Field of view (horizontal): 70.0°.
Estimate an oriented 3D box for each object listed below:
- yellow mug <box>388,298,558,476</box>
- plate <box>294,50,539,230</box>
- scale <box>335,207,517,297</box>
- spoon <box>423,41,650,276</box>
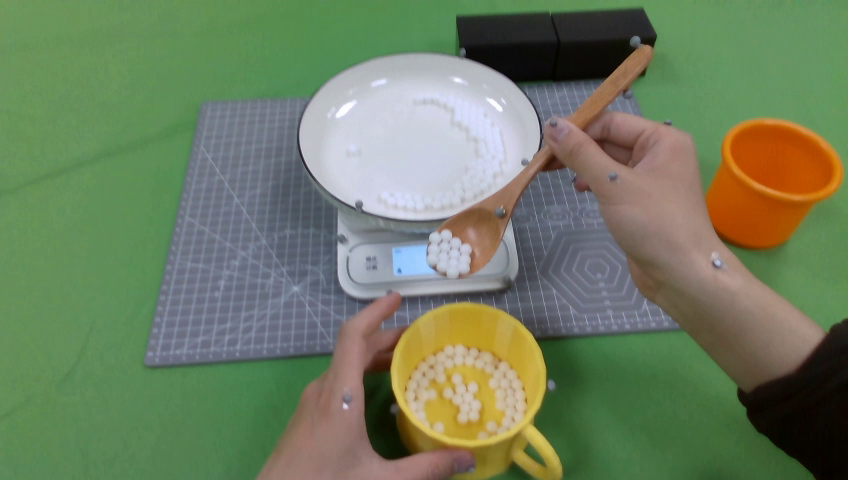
[{"bbox_3d":[0.038,0.107,0.406,0.100,0.064,0.130,-39,63,-24],"label":"yellow mug"},{"bbox_3d":[-0.006,-0.087,0.526,0.209,0.038,0.207,0,53,0],"label":"plate"},{"bbox_3d":[-0.004,-0.044,0.535,0.149,0.032,0.199,-4,54,-2],"label":"scale"},{"bbox_3d":[0.072,-0.051,0.381,0.194,0.022,0.041,-47,69,8],"label":"spoon"}]
